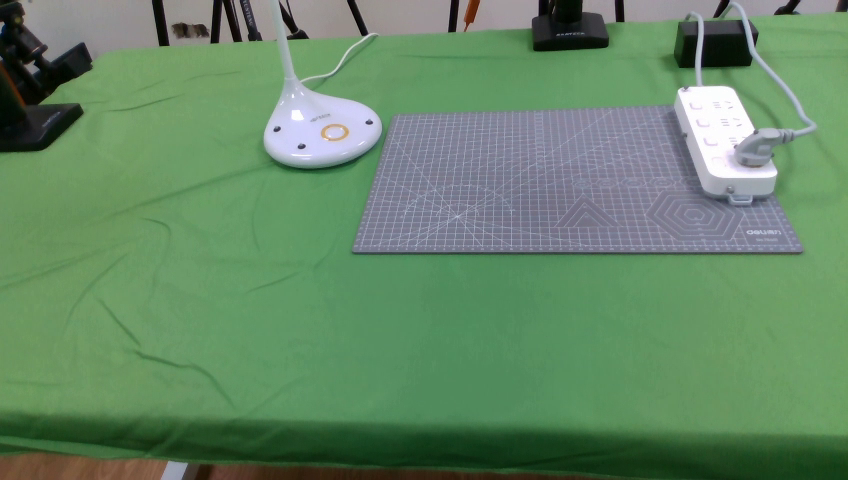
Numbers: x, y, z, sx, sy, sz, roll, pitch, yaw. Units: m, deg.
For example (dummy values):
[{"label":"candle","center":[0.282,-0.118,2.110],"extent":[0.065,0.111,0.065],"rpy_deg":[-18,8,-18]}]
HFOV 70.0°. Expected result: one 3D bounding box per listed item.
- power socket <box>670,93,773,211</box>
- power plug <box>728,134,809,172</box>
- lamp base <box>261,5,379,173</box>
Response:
[{"label":"power socket","center":[0.346,-0.114,0.718],"extent":[0.072,0.033,0.225],"rpy_deg":[2,40,8]},{"label":"power plug","center":[0.364,-0.084,0.643],"extent":[0.072,0.053,0.035],"rpy_deg":[9,42,16]},{"label":"lamp base","center":[-0.157,-0.203,0.783],"extent":[0.160,0.182,0.177],"rpy_deg":[-35,45,-30]}]
